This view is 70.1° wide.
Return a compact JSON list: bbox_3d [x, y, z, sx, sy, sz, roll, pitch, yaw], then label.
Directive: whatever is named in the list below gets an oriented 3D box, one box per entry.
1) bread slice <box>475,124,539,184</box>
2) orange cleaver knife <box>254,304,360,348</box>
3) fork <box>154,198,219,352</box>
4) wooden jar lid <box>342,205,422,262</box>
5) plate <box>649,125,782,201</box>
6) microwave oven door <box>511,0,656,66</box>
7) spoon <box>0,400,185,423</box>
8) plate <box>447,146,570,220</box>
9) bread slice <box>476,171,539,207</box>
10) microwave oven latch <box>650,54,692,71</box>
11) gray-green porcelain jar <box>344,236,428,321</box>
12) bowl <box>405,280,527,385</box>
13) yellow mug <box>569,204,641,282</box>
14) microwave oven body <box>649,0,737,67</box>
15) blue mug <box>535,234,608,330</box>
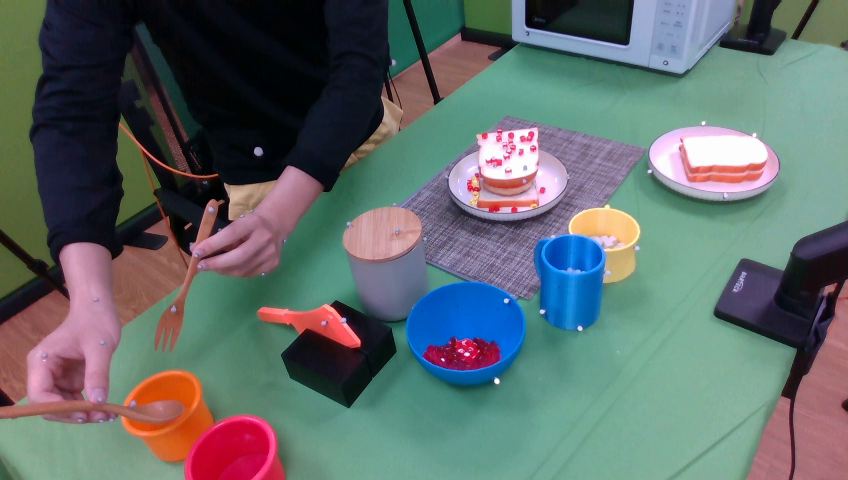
[{"bbox_3d":[0.143,-0.144,1.009,0.107,0.018,0.133,-8,46,8],"label":"bread slice"},{"bbox_3d":[-0.161,0.115,0.813,0.210,0.077,0.012,-4,33,46],"label":"orange cleaver knife"},{"bbox_3d":[-0.275,0.044,0.701,0.028,0.207,0.018,15,22,-32],"label":"fork"},{"bbox_3d":[-0.055,-0.005,0.808,0.108,0.021,0.108,-6,41,6],"label":"wooden jar lid"},{"bbox_3d":[0.493,-0.127,1.036,0.207,0.039,0.206,-4,41,4],"label":"plate"},{"bbox_3d":[0.351,-0.539,1.348,0.353,0.245,0.039,24,50,31],"label":"microwave oven door"},{"bbox_3d":[-0.304,0.157,0.560,0.041,0.195,0.021,17,83,30],"label":"spoon"},{"bbox_3d":[0.145,-0.098,1.046,0.209,0.038,0.208,-4,41,4],"label":"plate"},{"bbox_3d":[0.144,-0.103,1.059,0.105,0.019,0.131,-1,44,5],"label":"bread slice"},{"bbox_3d":[0.531,-0.386,1.301,0.078,0.029,0.030,25,51,33],"label":"microwave oven latch"},{"bbox_3d":[-0.050,0.042,0.849,0.106,0.127,0.105,-4,41,4],"label":"gray-green porcelain jar"},{"bbox_3d":[0.055,0.131,0.767,0.151,0.077,0.150,-4,40,4],"label":"bowl"},{"bbox_3d":[0.268,-0.005,0.904,0.099,0.064,0.130,7,41,15],"label":"yellow mug"},{"bbox_3d":[0.475,-0.602,1.411,0.438,0.261,0.327,23,50,32],"label":"microwave oven body"},{"bbox_3d":[0.191,0.048,0.824,0.082,0.106,0.115,-26,44,-21],"label":"blue mug"}]
